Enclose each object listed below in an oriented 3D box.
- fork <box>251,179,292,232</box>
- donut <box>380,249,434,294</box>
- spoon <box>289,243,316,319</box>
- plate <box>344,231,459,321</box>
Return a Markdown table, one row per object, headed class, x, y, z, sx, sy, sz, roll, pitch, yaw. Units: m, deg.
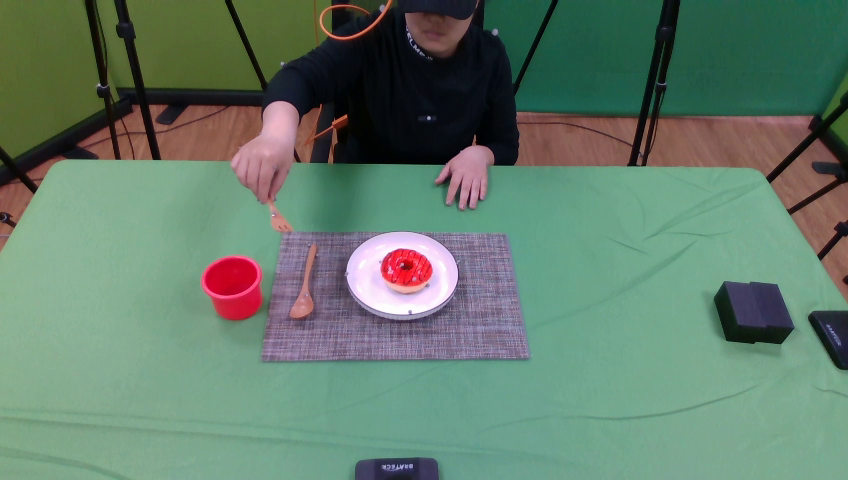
| class | x | y | z | sx | sy | sz | roll | pitch | yaw |
| --- | --- | --- | --- | --- | --- | --- | --- | --- | --- |
| fork | -0.258 | -0.060 | 1.008 | 0.028 | 0.019 | 0.206 | -12 | 36 | -25 |
| donut | -0.032 | 0.056 | 1.111 | 0.099 | 0.048 | 0.098 | 3 | 43 | -3 |
| spoon | -0.215 | 0.071 | 1.108 | 0.041 | 0.022 | 0.192 | -10 | 45 | 10 |
| plate | -0.042 | 0.068 | 1.115 | 0.209 | 0.038 | 0.208 | 2 | 46 | -2 |
